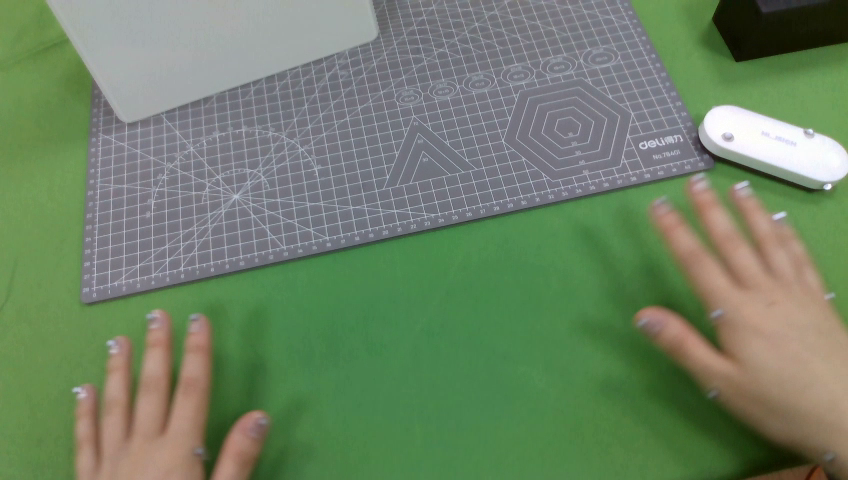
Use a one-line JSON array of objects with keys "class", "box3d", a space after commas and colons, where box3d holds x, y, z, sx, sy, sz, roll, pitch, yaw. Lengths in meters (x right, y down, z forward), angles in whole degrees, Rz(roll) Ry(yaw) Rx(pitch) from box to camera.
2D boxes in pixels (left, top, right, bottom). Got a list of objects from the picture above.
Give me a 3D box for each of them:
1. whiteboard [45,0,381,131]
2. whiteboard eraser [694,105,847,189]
[{"class": "whiteboard", "box3d": [-0.184, -0.274, 0.429, 0.217, 0.308, 0.142, -21, 44, -7]}, {"class": "whiteboard eraser", "box3d": [0.245, -0.066, 0.428, 0.101, 0.019, 0.041, 22, 66, 13]}]
